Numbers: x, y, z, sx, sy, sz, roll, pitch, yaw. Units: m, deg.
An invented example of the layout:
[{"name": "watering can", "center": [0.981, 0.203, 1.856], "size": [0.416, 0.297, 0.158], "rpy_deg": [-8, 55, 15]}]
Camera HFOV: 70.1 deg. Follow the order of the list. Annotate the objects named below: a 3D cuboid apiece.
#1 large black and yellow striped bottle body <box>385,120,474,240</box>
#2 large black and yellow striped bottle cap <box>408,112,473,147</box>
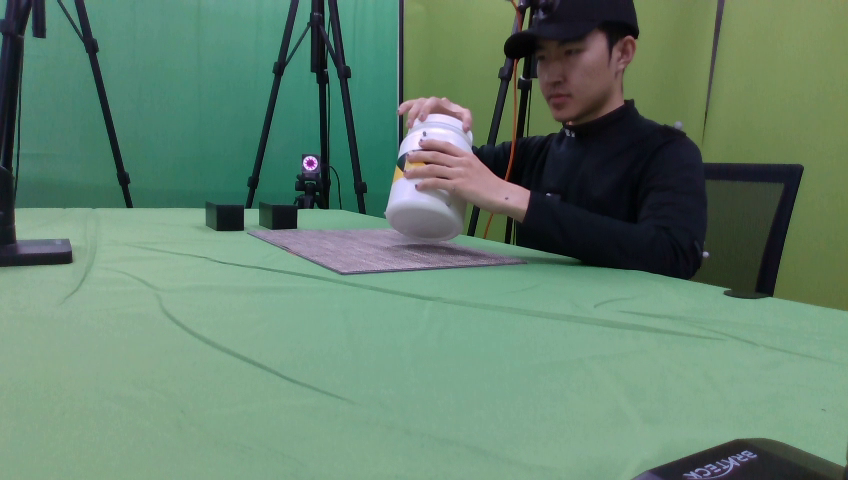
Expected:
[{"name": "large black and yellow striped bottle body", "center": [0.014, -0.107, 1.023], "size": [0.131, 0.183, 0.131], "rpy_deg": [8, -25, 4]}, {"name": "large black and yellow striped bottle cap", "center": [0.029, -0.181, 1.056], "size": [0.115, 0.019, 0.115], "rpy_deg": [7, -26, 4]}]
